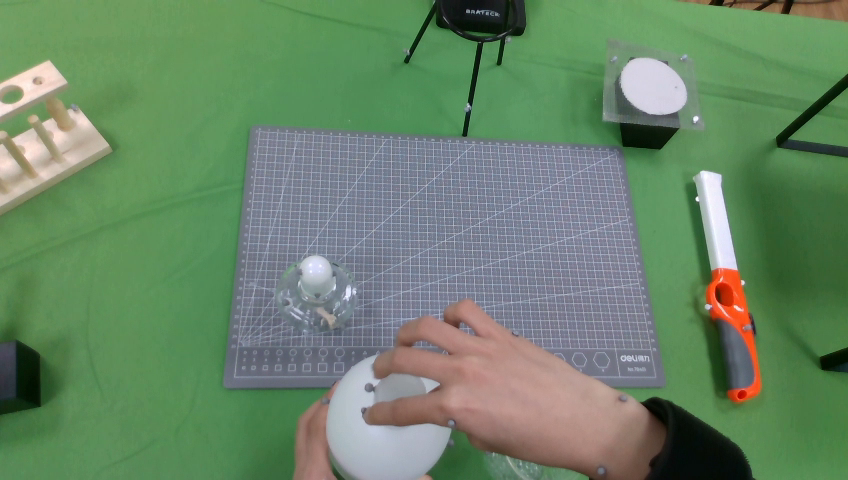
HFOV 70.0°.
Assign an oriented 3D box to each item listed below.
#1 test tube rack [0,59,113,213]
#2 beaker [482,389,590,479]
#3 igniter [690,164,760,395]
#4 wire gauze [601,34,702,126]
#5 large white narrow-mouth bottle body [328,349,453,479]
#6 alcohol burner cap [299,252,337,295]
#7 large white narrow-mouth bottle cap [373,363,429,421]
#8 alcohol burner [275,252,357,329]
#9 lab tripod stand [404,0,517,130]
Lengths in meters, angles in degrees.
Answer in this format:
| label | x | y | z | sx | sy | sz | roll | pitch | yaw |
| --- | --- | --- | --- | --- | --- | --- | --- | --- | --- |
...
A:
| label | x | y | z | sx | sy | sz | roll | pitch | yaw |
| --- | --- | --- | --- | --- | --- | --- | --- | --- | --- |
| test tube rack | -0.442 | -0.069 | 0.583 | 0.242 | 0.085 | 0.066 | -38 | 77 | -22 |
| beaker | 0.094 | 0.182 | 0.551 | 0.084 | 0.101 | 0.073 | 7 | 65 | -4 |
| igniter | 0.341 | 0.038 | 0.692 | 0.057 | 0.025 | 0.274 | 9 | 66 | -16 |
| wire gauze | 0.276 | -0.195 | 0.740 | 0.121 | 0.011 | 0.124 | 9 | 65 | -5 |
| large white narrow-mouth bottle body | -0.029 | 0.144 | 0.496 | 0.102 | 0.195 | 0.101 | 3 | 65 | -7 |
| alcohol burner cap | -0.096 | 0.028 | 0.537 | 0.034 | 0.048 | 0.033 | 2 | 71 | -4 |
| large white narrow-mouth bottle cap | -0.016 | 0.103 | 0.410 | 0.038 | 0.024 | 0.037 | 3 | 65 | -7 |
| alcohol burner | -0.101 | 0.041 | 0.571 | 0.078 | 0.119 | 0.077 | 4 | 64 | -9 |
| lab tripod stand | 0.050 | -0.225 | 0.703 | 0.149 | 0.132 | 0.147 | 4 | 67 | -9 |
